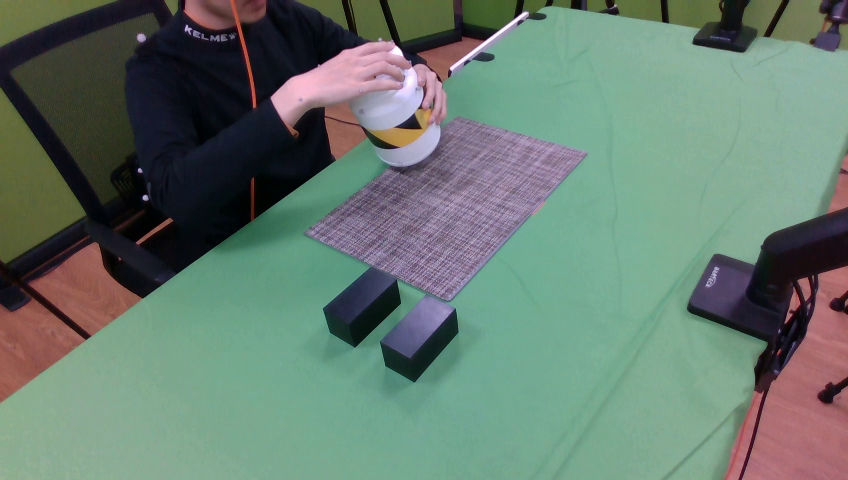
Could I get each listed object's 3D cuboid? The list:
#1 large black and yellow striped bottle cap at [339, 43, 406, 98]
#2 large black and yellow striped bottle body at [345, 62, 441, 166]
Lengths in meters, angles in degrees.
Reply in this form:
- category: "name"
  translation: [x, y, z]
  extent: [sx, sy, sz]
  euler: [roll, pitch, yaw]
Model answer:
- category: "large black and yellow striped bottle cap"
  translation: [-0.086, -0.282, 1.001]
  extent: [0.114, 0.019, 0.114]
  euler: [-10, 53, 14]
- category: "large black and yellow striped bottle body"
  translation: [-0.057, -0.235, 1.071]
  extent: [0.130, 0.185, 0.130]
  euler: [-11, 55, 16]
